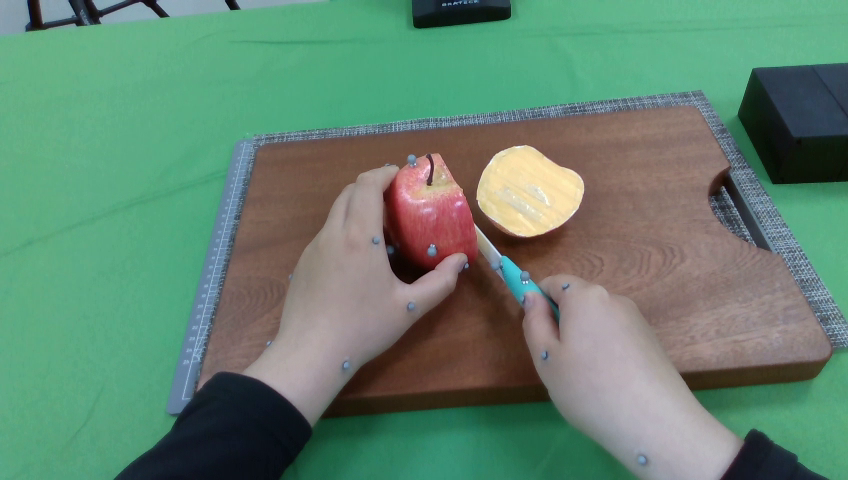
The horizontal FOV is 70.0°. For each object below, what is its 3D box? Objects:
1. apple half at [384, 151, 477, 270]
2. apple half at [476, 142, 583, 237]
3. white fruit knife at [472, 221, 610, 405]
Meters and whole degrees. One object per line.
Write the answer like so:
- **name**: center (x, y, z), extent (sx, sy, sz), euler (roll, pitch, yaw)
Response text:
- **apple half**: center (0.000, -0.015, 0.426), extent (0.053, 0.075, 0.080), euler (-20, 51, -6)
- **apple half**: center (0.076, -0.031, 0.460), extent (0.081, 0.033, 0.080), euler (-1, 63, 3)
- **white fruit knife**: center (0.056, 0.023, 0.405), extent (0.016, 0.028, 0.205), euler (-22, 46, -15)
